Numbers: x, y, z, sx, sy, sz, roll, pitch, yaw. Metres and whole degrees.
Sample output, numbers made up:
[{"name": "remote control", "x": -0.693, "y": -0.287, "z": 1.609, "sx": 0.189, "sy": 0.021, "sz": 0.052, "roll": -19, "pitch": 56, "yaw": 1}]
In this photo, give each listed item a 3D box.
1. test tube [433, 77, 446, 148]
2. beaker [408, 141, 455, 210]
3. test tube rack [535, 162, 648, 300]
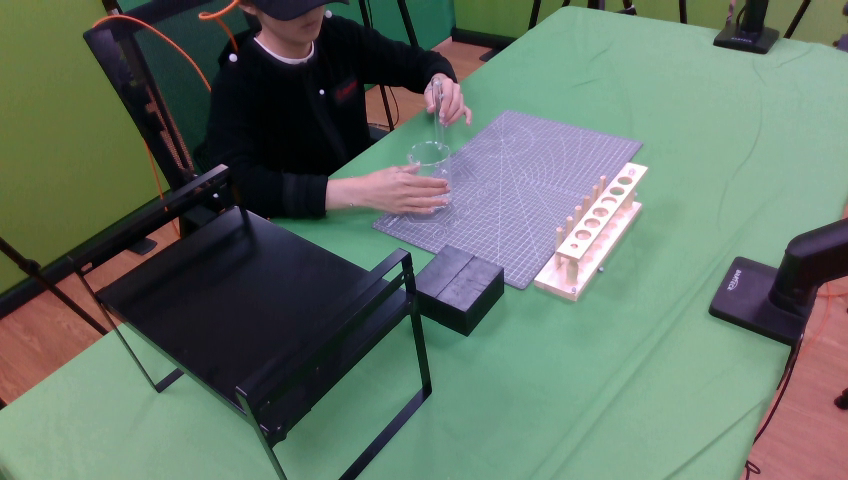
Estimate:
[{"name": "test tube", "x": 0.029, "y": -0.229, "z": 1.104, "sx": 0.017, "sy": 0.151, "sz": 0.017, "roll": -3, "pitch": 46, "yaw": 4}, {"name": "beaker", "x": 0.016, "y": -0.110, "z": 1.037, "sx": 0.073, "sy": 0.101, "sz": 0.084, "roll": 17, "pitch": 46, "yaw": 25}, {"name": "test tube rack", "x": 0.257, "y": -0.024, "z": 0.916, "sx": 0.066, "sy": 0.085, "sz": 0.243, "roll": 22, "pitch": 49, "yaw": 30}]
